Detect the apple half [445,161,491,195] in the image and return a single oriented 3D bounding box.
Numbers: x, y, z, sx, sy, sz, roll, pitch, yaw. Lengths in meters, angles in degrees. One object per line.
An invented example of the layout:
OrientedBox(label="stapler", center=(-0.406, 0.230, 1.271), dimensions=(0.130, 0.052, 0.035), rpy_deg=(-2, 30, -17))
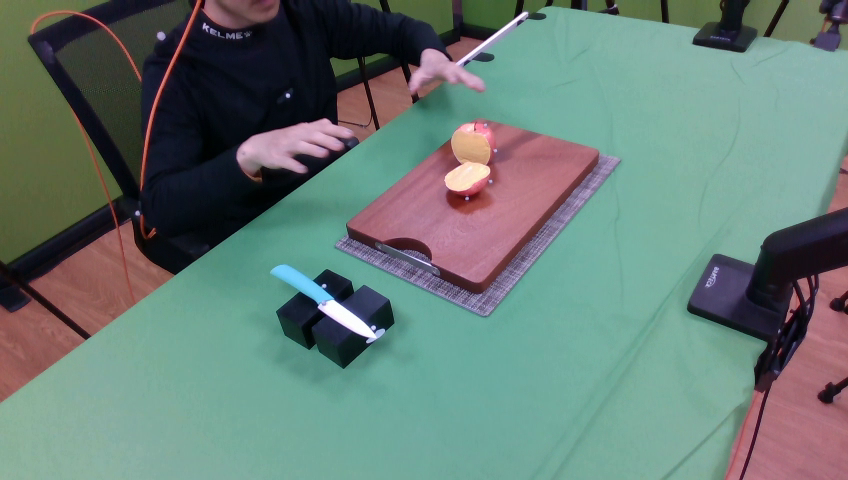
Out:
OrientedBox(label="apple half", center=(0.076, -0.099, 1.020), dimensions=(0.081, 0.033, 0.081), rpy_deg=(-16, 36, 12))

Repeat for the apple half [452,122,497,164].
OrientedBox(label="apple half", center=(0.095, -0.173, 1.073), dimensions=(0.080, 0.075, 0.053), rpy_deg=(13, 40, 28))

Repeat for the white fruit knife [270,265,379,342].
OrientedBox(label="white fruit knife", center=(-0.136, 0.084, 0.823), dimensions=(0.206, 0.016, 0.027), rpy_deg=(30, 65, 30))
